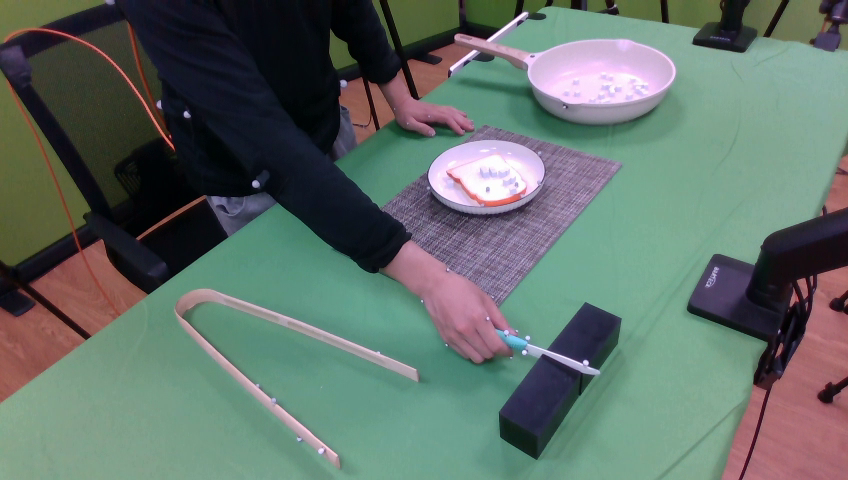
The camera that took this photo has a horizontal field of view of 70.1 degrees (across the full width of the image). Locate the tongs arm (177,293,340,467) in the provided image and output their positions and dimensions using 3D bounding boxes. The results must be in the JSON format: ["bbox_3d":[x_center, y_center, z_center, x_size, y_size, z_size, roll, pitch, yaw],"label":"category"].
[{"bbox_3d":[-0.225,0.169,0.794,0.381,0.026,0.051,25,50,34],"label":"tongs arm"}]

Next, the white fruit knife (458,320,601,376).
[{"bbox_3d":[0.123,0.132,0.748,0.205,0.027,0.016,13,49,38],"label":"white fruit knife"}]

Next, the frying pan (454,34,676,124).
[{"bbox_3d":[0.277,-0.370,1.295,0.485,0.103,0.307,26,49,22],"label":"frying pan"}]

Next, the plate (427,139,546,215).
[{"bbox_3d":[0.109,-0.107,1.059,0.207,0.039,0.206,-4,41,4],"label":"plate"}]

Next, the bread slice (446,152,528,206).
[{"bbox_3d":[0.118,-0.105,1.057,0.107,0.018,0.133,-24,42,-17],"label":"bread slice"}]

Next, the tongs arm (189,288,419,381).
[{"bbox_3d":[-0.177,0.126,0.842,0.385,0.028,0.028,15,48,25],"label":"tongs arm"}]
